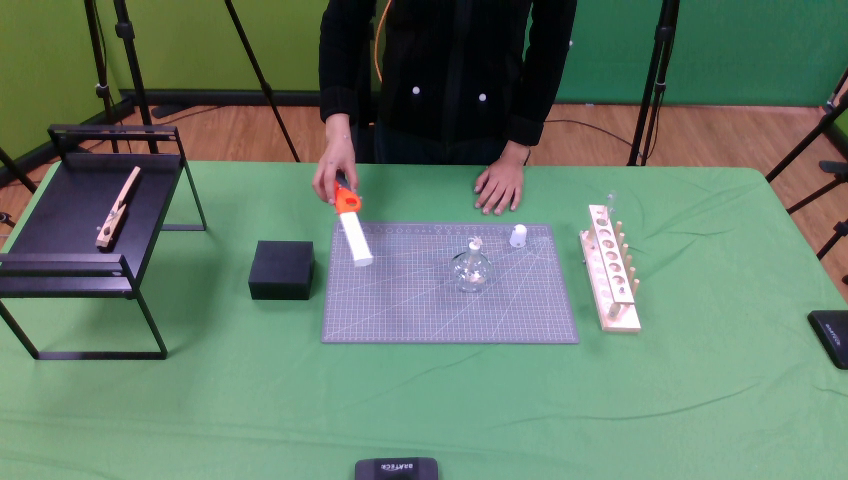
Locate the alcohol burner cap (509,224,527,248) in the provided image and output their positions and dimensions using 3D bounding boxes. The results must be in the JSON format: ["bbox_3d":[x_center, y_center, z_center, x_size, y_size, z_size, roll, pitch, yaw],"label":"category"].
[{"bbox_3d":[0.189,-0.011,1.206,0.034,0.048,0.033,2,46,-1],"label":"alcohol burner cap"}]

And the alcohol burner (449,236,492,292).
[{"bbox_3d":[0.087,0.038,1.101,0.078,0.119,0.077,3,44,-3],"label":"alcohol burner"}]

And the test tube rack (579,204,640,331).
[{"bbox_3d":[0.353,0.047,1.137,0.067,0.085,0.241,2,46,-2],"label":"test tube rack"}]

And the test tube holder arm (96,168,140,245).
[{"bbox_3d":[-0.486,-0.058,0.968,0.013,0.015,0.177,27,37,-26],"label":"test tube holder arm"}]

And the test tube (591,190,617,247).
[{"bbox_3d":[0.340,-0.038,1.149,0.017,0.151,0.017,1,50,-1],"label":"test tube"}]

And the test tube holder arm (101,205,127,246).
[{"bbox_3d":[-0.480,-0.025,0.938,0.010,0.015,0.087,27,37,-26],"label":"test tube holder arm"}]

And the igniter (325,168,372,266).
[{"bbox_3d":[-0.141,-0.051,1.107,0.057,0.025,0.274,-7,42,-17],"label":"igniter"}]
